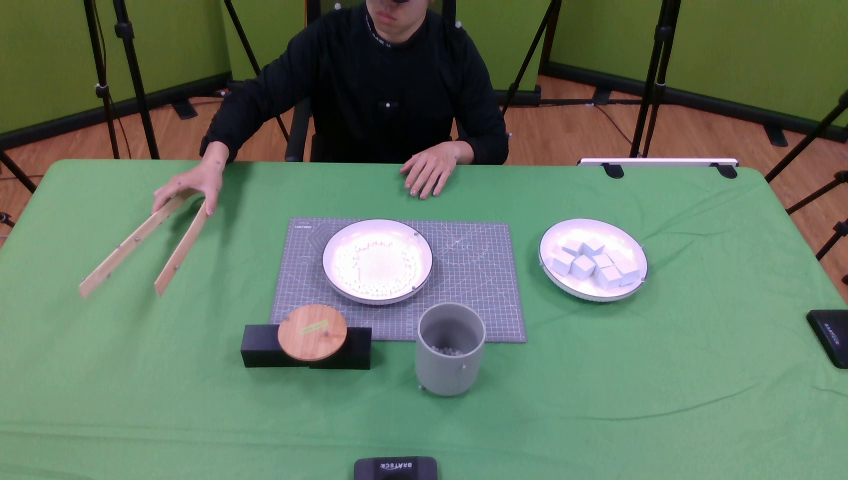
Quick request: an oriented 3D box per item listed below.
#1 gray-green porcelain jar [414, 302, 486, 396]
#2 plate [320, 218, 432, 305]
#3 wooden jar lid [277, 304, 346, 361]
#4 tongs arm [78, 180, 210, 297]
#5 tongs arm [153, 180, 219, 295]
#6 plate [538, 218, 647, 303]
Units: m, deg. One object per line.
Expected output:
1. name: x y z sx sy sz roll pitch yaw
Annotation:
1. gray-green porcelain jar: 0.038 0.177 0.958 0.106 0.127 0.105 2 46 -2
2. plate: -0.089 0.044 1.134 0.209 0.038 0.208 3 46 -2
3. wooden jar lid: -0.179 0.150 0.972 0.108 0.021 0.107 2 45 -2
4. tongs arm: -0.487 -0.017 1.091 0.051 0.026 0.383 -2 29 8
5. tongs arm: -0.419 -0.019 1.086 0.028 0.028 0.385 -10 30 2
6. plate: 0.322 0.042 1.171 0.208 0.039 0.206 2 46 -2
